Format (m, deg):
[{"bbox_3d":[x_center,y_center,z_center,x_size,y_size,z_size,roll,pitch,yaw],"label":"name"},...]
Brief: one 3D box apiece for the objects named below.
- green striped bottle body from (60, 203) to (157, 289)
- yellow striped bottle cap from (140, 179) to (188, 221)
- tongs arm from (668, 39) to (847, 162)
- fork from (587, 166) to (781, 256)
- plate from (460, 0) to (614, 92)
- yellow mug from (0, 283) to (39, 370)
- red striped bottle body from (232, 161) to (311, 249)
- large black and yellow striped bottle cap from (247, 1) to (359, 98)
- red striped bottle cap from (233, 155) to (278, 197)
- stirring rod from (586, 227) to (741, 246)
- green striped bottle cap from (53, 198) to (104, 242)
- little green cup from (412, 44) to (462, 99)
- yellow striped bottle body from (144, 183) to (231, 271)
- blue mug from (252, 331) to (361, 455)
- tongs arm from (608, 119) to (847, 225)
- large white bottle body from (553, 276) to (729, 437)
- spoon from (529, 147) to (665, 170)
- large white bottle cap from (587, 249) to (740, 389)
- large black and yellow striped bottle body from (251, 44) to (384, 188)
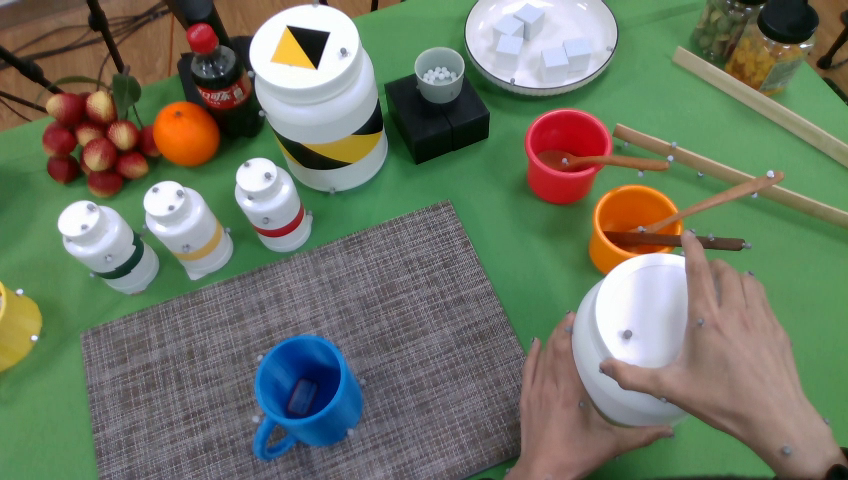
[{"bbox_3d":[-0.350,0.004,0.668,0.063,0.120,0.062,-1,62,2],"label":"green striped bottle body"},{"bbox_3d":[-0.269,-0.042,0.628,0.044,0.019,0.044,0,58,0],"label":"yellow striped bottle cap"},{"bbox_3d":[0.464,-0.140,0.750,0.028,0.028,0.384,-38,67,-23],"label":"tongs arm"},{"bbox_3d":[0.265,-0.028,0.636,0.207,0.019,0.028,-30,51,38],"label":"fork"},{"bbox_3d":[0.152,-0.281,0.835,0.209,0.038,0.207,-1,63,2],"label":"plate"},{"bbox_3d":[-0.487,0.102,0.655,0.100,0.064,0.129,-12,63,-3],"label":"yellow mug"},{"bbox_3d":[-0.173,-0.043,0.683,0.063,0.121,0.062,-3,62,5],"label":"red striped bottle body"},{"bbox_3d":[-0.125,-0.199,0.627,0.115,0.019,0.114,-2,65,5],"label":"large black and yellow striped bottle cap"},{"bbox_3d":[-0.177,-0.067,0.636,0.044,0.018,0.044,0,60,0],"label":"red striped bottle cap"},{"bbox_3d":[0.242,-0.005,0.632,0.014,0.006,0.175,-47,28,-24],"label":"stirring rod"},{"bbox_3d":[-0.354,-0.021,0.621,0.044,0.020,0.044,0,63,-1],"label":"green striped bottle cap"},{"bbox_3d":[0.016,-0.205,0.745,0.061,0.039,0.061,0,60,1],"label":"little green cup"},{"bbox_3d":[-0.265,-0.018,0.675,0.063,0.121,0.062,-2,62,3],"label":"yellow striped bottle body"},{"bbox_3d":[-0.119,0.156,0.582,0.082,0.107,0.116,32,69,19],"label":"blue mug"},{"bbox_3d":[0.409,-0.077,0.717,0.383,0.027,0.050,27,64,15],"label":"tongs arm"},{"bbox_3d":[0.194,0.100,0.554,0.130,0.186,0.129,-1,62,3],"label":"large white bottle body"},{"bbox_3d":[0.185,-0.091,0.676,0.041,0.192,0.022,-38,112,-19],"label":"spoon"},{"bbox_3d":[0.188,0.060,0.479,0.115,0.018,0.114,-1,62,2],"label":"large white bottle cap"},{"bbox_3d":[-0.121,-0.160,0.704,0.131,0.185,0.129,-1,63,3],"label":"large black and yellow striped bottle body"}]
